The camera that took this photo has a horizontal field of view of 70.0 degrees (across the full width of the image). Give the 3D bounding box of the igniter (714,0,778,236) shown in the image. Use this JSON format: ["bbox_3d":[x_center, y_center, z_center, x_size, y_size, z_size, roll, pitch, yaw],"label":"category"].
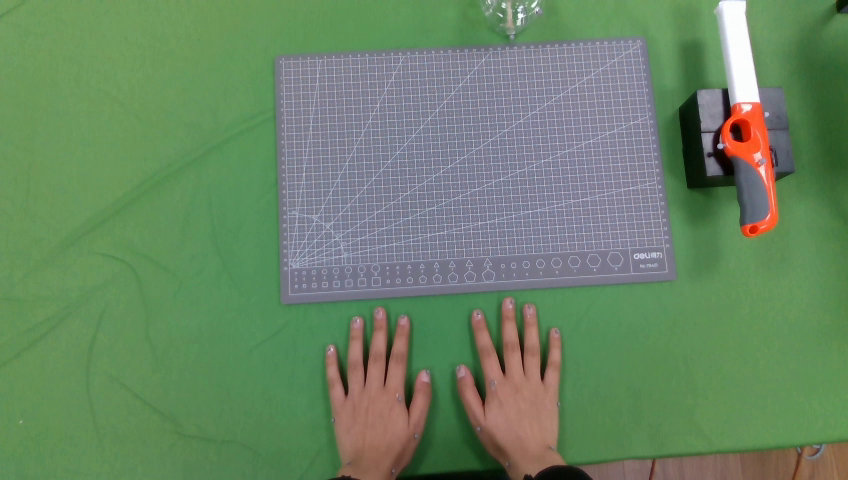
[{"bbox_3d":[0.352,-0.139,0.666,0.057,0.025,0.275,0,77,0],"label":"igniter"}]

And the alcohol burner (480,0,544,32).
[{"bbox_3d":[0.103,-0.290,0.690,0.078,0.119,0.077,0,81,-2],"label":"alcohol burner"}]
